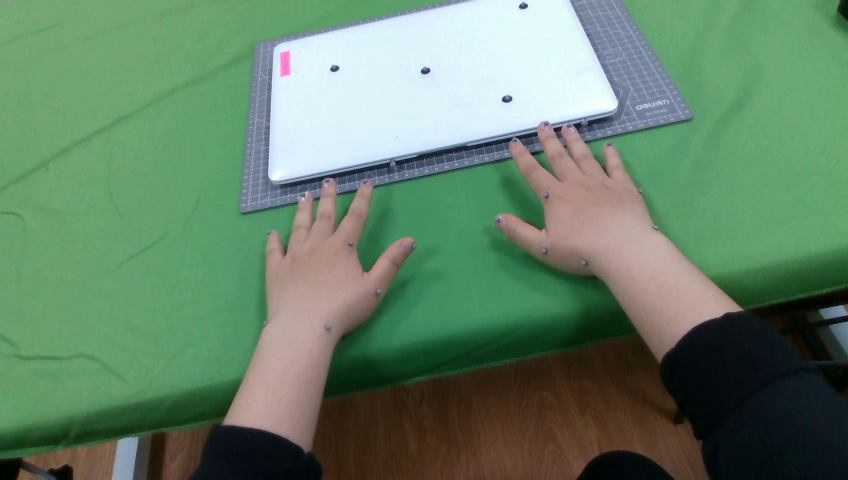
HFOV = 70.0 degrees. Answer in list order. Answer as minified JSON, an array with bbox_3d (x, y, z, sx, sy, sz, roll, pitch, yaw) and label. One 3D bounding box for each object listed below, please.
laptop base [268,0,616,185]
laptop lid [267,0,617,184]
[{"bbox_3d":[0.004,-0.175,0.668,0.354,0.023,0.233,-11,54,3],"label":"laptop base"},{"bbox_3d":[0.002,-0.180,0.657,0.356,0.013,0.239,-10,53,4],"label":"laptop lid"}]
